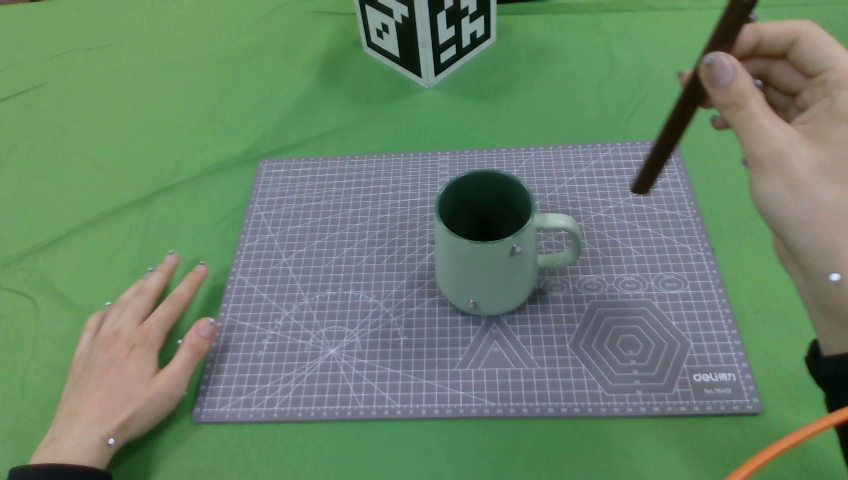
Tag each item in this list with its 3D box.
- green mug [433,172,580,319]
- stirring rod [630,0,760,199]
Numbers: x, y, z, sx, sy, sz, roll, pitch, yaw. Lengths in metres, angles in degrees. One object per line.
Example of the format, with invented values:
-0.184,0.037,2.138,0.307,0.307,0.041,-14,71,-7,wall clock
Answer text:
0.068,0.006,0.509,0.125,0.106,0.091,-1,53,5,green mug
0.158,-0.089,0.351,0.014,0.177,0.005,12,47,1,stirring rod
